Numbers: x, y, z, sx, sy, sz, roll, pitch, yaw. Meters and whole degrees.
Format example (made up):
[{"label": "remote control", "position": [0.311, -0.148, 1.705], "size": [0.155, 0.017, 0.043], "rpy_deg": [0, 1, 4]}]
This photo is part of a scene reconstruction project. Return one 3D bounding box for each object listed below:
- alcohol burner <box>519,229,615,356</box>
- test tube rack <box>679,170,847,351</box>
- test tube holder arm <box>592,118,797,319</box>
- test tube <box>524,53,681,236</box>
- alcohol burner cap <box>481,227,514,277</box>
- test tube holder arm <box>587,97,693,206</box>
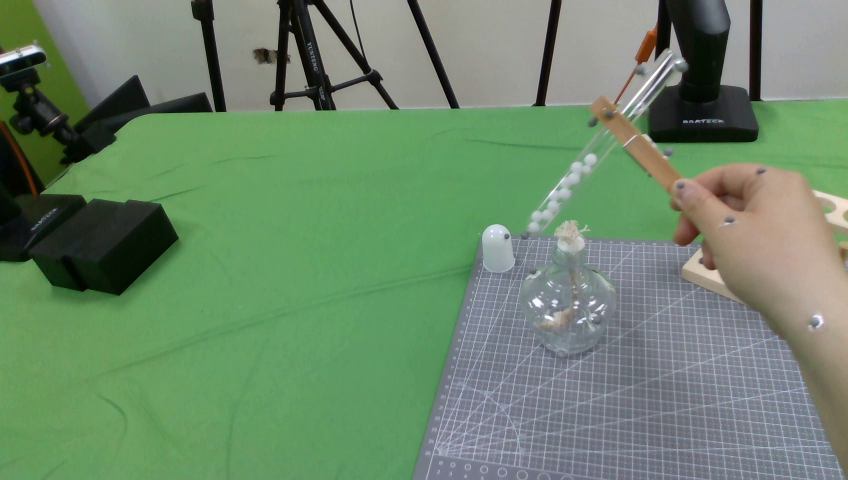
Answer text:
[{"label": "alcohol burner", "position": [0.114, 0.037, 0.485], "size": [0.078, 0.120, 0.077], "rpy_deg": [-5, 41, 5]}, {"label": "test tube rack", "position": [0.331, 0.031, 0.465], "size": [0.240, 0.086, 0.067], "rpy_deg": [27, 52, 38]}, {"label": "test tube holder arm", "position": [0.170, -0.024, 0.392], "size": [0.015, 0.013, 0.177], "rpy_deg": [-43, 70, 20]}, {"label": "test tube", "position": [0.118, -0.061, 0.416], "size": [0.017, 0.150, 0.017], "rpy_deg": [32, 21, -13]}, {"label": "alcohol burner cap", "position": [0.070, 0.008, 0.588], "size": [0.034, 0.048, 0.033], "rpy_deg": [-5, 40, 5]}, {"label": "test tube holder arm", "position": [0.141, -0.058, 0.399], "size": [0.087, 0.015, 0.010], "rpy_deg": [51, 20, 10]}]
